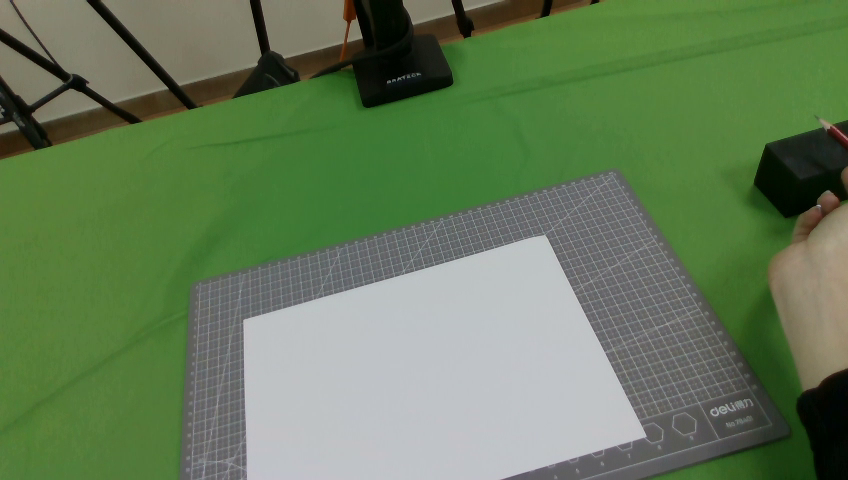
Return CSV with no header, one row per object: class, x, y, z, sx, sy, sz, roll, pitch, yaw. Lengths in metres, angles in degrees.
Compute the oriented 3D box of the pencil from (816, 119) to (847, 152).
pencil,0.373,-0.034,0.467,0.012,0.012,0.192,-21,54,-6
